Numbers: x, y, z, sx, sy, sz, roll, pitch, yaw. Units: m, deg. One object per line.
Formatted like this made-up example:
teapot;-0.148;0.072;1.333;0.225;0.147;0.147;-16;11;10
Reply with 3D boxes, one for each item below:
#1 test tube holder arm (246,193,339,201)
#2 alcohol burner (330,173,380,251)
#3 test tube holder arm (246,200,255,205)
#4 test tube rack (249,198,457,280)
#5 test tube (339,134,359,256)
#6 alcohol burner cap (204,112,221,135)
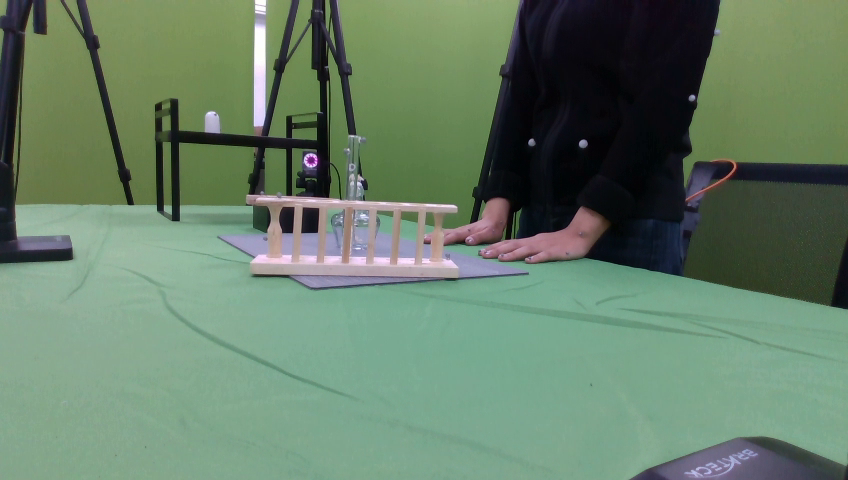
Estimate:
test tube holder arm;-0.244;-0.081;1.140;0.179;0.013;0.015;-6;21;-31
alcohol burner;-0.107;-0.044;0.938;0.078;0.119;0.078;1;6;0
test tube holder arm;-0.283;-0.072;1.118;0.088;0.010;0.015;-6;21;-31
test tube rack;-0.082;-0.002;0.733;0.243;0.085;0.066;2;8;-7
test tube;-0.092;-0.054;0.743;0.017;0.150;0.017;4;5;0
alcohol burner cap;-0.444;-0.245;1.270;0.034;0.048;0.034;4;8;0
